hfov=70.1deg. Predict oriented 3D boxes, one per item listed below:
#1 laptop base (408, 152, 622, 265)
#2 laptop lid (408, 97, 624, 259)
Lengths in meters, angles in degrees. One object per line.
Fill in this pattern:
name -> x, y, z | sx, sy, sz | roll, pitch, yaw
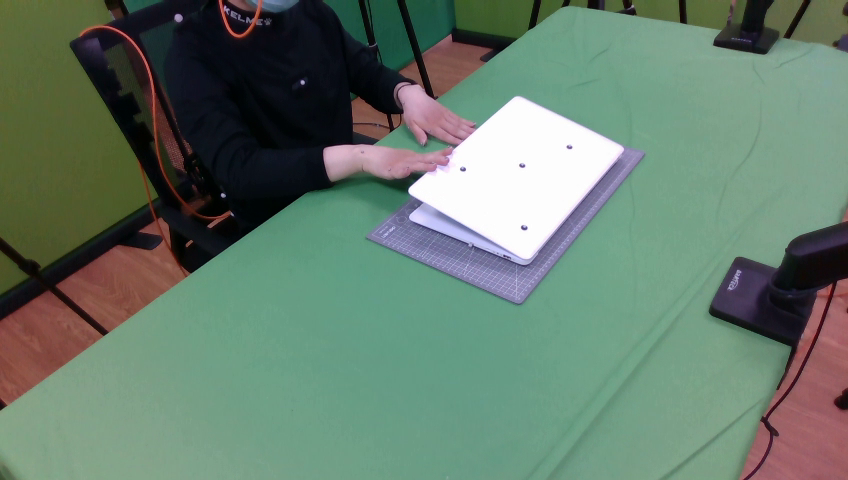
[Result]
laptop base -> 0.168, -0.095, 1.057 | 0.233, 0.023, 0.355 | 20, 47, 32
laptop lid -> 0.166, -0.125, 1.029 | 0.240, 0.013, 0.358 | 32, 53, 22
